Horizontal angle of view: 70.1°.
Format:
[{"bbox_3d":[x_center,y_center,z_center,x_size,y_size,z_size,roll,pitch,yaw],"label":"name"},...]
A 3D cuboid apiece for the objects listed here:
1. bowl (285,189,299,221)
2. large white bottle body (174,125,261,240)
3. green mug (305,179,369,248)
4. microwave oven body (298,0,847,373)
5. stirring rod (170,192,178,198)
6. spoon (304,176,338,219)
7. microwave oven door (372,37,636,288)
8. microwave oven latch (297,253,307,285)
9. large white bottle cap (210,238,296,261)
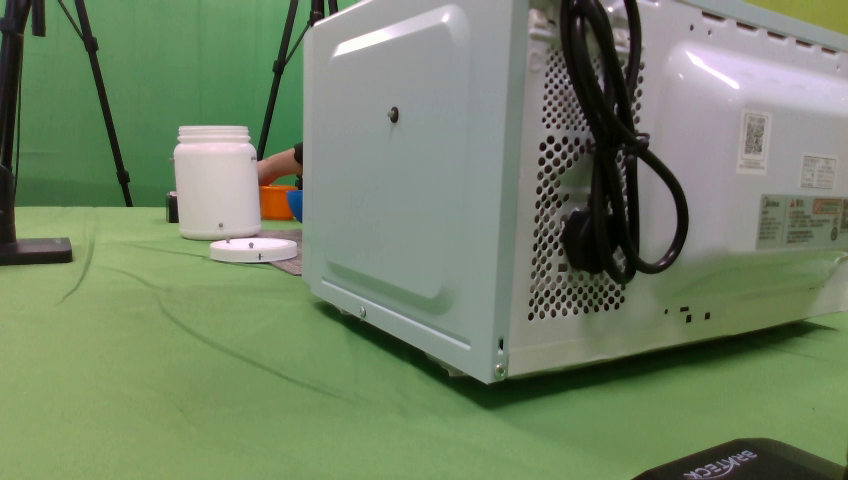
[{"bbox_3d":[-0.180,-0.050,1.113,0.151,0.077,0.151,3,8,0],"label":"bowl"},{"bbox_3d":[-0.349,-0.100,1.025,0.131,0.184,0.130,-1,9,0],"label":"large white bottle body"},{"bbox_3d":[-0.133,-0.044,0.977,0.092,0.105,0.126,6,8,32],"label":"green mug"},{"bbox_3d":[0.151,-0.055,0.542,0.444,0.260,0.324,-2,7,-33],"label":"microwave oven body"},{"bbox_3d":[-0.465,-0.098,1.283,0.014,0.006,0.177,42,22,17],"label":"stirring rod"},{"bbox_3d":[-0.201,-0.084,1.146,0.042,0.021,0.193,2,30,-25],"label":"spoon"},{"bbox_3d":[0.109,-0.080,0.686,0.358,0.243,0.039,-2,9,-33],"label":"microwave oven door"},{"bbox_3d":[-0.082,0.027,0.582,0.079,0.029,0.030,-1,7,-32],"label":"microwave oven latch"},{"bbox_3d":[-0.236,0.012,0.839,0.115,0.018,0.115,1,7,0],"label":"large white bottle cap"}]
